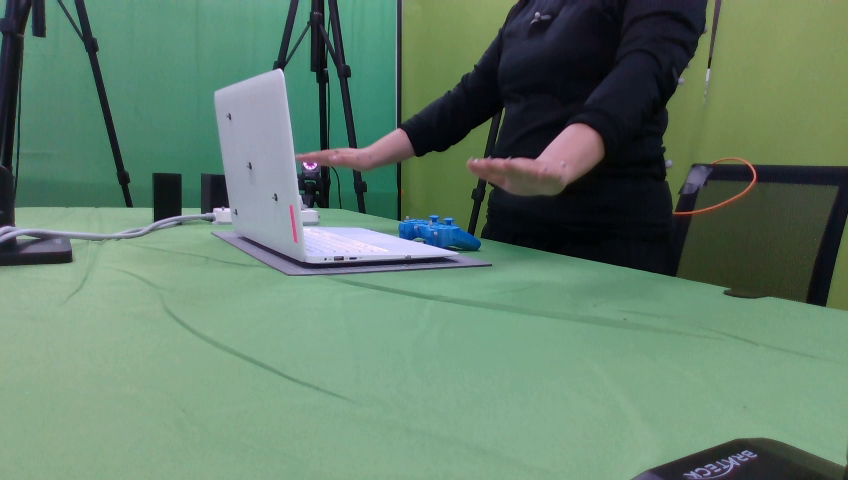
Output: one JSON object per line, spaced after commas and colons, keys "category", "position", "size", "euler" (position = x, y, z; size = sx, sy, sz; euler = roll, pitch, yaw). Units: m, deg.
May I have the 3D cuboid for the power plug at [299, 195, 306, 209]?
{"category": "power plug", "position": [-0.283, -0.075, 1.342], "size": [0.035, 0.052, 0.072], "euler": [0, 3, -18]}

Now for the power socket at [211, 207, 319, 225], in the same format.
{"category": "power socket", "position": [-0.334, -0.051, 1.281], "size": [0.228, 0.032, 0.072], "euler": [-2, 9, -29]}

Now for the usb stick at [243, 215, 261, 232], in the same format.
{"category": "usb stick", "position": [-0.302, -0.028, 1.070], "size": [0.021, 0.027, 0.059], "euler": [-1, 12, -30]}

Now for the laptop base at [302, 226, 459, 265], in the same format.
{"category": "laptop base", "position": [-0.136, 0.007, 0.951], "size": [0.237, 0.023, 0.352], "euler": [2, 6, -32]}

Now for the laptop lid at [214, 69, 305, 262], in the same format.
{"category": "laptop lid", "position": [-0.246, -0.107, 0.865], "size": [0.013, 0.241, 0.355], "euler": [-11, 14, -30]}

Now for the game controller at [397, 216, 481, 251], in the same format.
{"category": "game controller", "position": [0.020, -0.013, 1.053], "size": [0.097, 0.051, 0.154], "euler": [-4, 9, -30]}
